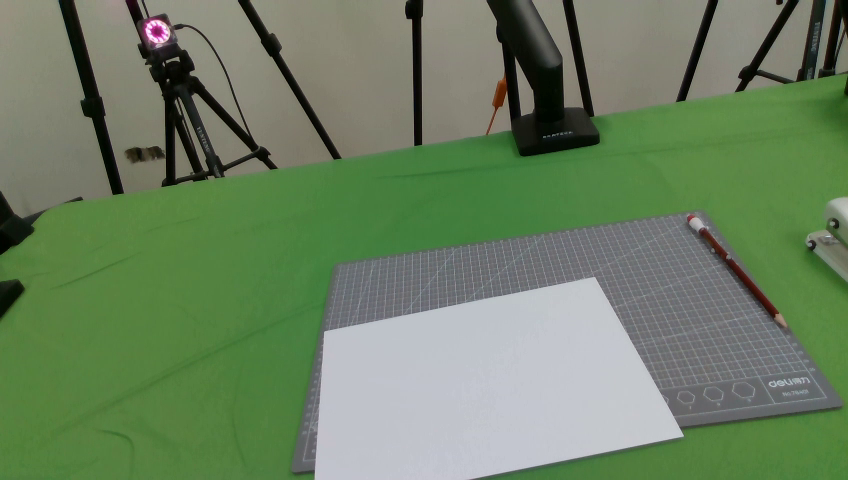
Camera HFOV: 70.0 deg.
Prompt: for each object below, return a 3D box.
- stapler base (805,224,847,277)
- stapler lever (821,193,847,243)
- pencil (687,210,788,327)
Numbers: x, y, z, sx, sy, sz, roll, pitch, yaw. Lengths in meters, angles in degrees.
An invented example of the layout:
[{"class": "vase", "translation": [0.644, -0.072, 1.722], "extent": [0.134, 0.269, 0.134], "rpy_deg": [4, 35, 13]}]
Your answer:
[{"class": "stapler base", "translation": [0.426, 0.017, 0.588], "extent": [0.041, 0.025, 0.129], "rpy_deg": [-13, 36, 2]}, {"class": "stapler lever", "translation": [0.422, -0.003, 0.572], "extent": [0.027, 0.040, 0.117], "rpy_deg": [-13, 36, 2]}, {"class": "pencil", "translation": [0.316, 0.023, 0.620], "extent": [0.012, 0.012, 0.192], "rpy_deg": [-11, 35, 1]}]
